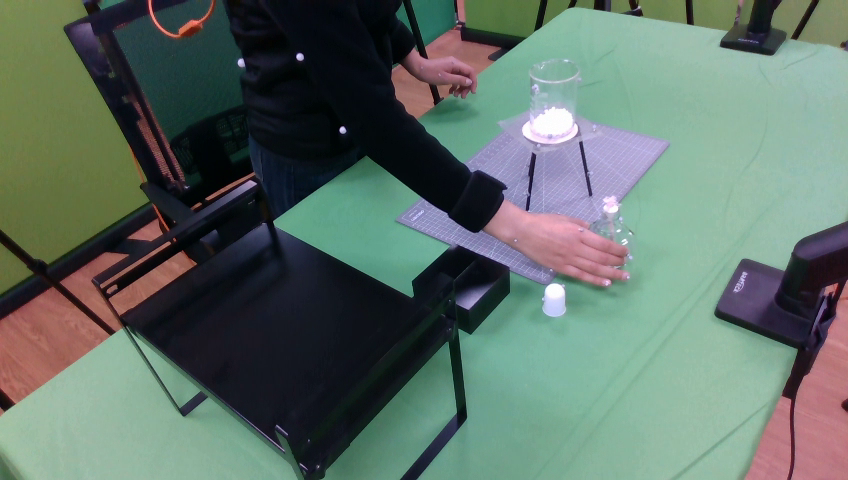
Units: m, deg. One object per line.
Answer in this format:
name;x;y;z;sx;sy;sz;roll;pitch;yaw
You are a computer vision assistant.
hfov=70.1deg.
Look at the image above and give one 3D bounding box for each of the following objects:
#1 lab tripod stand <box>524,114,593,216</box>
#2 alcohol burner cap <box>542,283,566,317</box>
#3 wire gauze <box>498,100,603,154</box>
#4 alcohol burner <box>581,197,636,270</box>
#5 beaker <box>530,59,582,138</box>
lab tripod stand;0.210;-0.127;1.001;0.148;0.132;0.147;-4;43;4
alcohol burner cap;0.181;0.081;0.839;0.034;0.048;0.033;-4;40;4
wire gauze;0.199;-0.180;0.963;0.125;0.011;0.120;-21;42;-12
alcohol burner;0.270;-0.015;0.882;0.078;0.120;0.077;-6;43;6
beaker;0.198;-0.217;0.932;0.074;0.101;0.083;-22;43;-16
